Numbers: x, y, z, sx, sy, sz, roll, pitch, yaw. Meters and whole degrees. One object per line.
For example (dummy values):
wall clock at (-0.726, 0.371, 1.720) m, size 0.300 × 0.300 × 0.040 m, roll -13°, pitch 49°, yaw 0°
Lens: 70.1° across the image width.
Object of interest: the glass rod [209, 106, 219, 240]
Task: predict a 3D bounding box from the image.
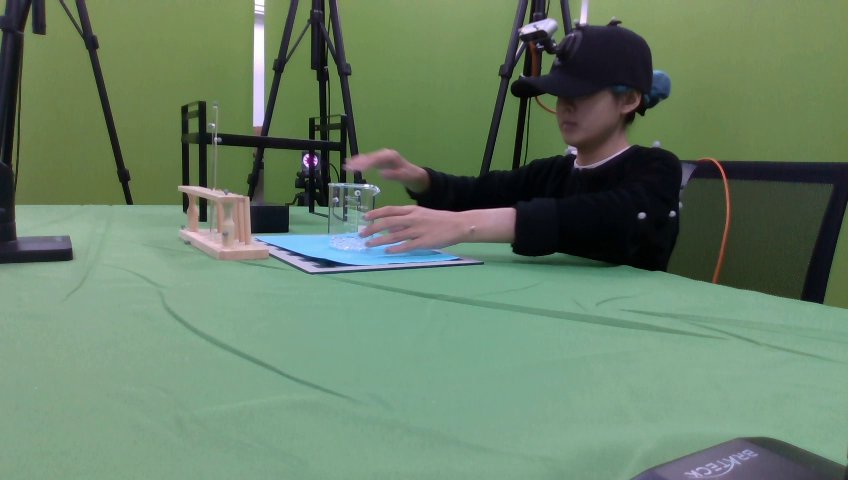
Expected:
glass rod at (-0.305, -0.096, 0.878) m, size 0.008 × 0.199 × 0.008 m, roll 2°, pitch 0°, yaw 0°

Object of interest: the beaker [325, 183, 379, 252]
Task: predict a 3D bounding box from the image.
beaker at (-0.109, -0.035, 0.921) m, size 0.084 × 0.100 × 0.074 m, roll 5°, pitch 8°, yaw 15°

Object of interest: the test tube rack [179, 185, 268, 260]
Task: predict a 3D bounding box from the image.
test tube rack at (-0.303, -0.031, 0.898) m, size 0.067 × 0.085 × 0.241 m, roll -2°, pitch 9°, yaw -33°
